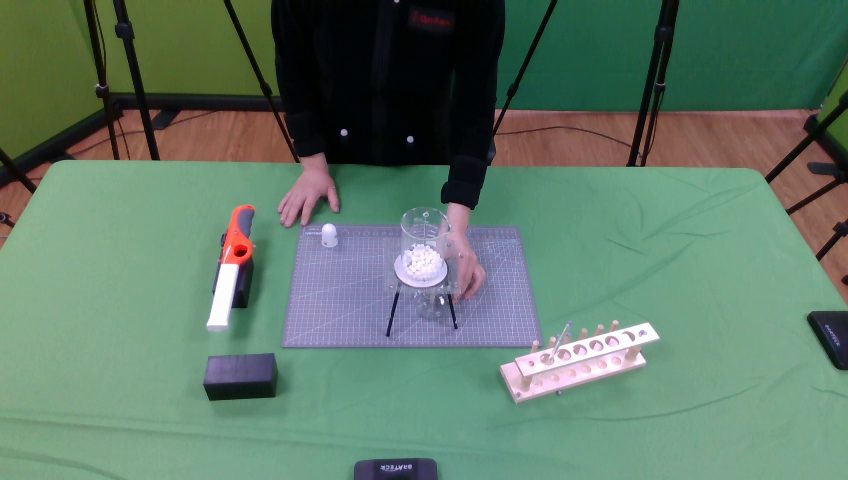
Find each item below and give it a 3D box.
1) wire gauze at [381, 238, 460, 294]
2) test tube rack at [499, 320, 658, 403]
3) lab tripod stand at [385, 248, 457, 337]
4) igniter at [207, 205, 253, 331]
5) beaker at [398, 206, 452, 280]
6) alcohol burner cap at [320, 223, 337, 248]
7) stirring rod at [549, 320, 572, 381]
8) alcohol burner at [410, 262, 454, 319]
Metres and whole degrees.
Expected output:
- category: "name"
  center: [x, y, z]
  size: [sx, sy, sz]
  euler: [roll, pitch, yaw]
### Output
- category: "wire gauze"
  center: [-0.008, 0.042, 0.985]
  size: [0.125, 0.011, 0.120]
  euler: [-1, 43, -2]
- category: "test tube rack"
  center: [0.252, 0.187, 0.994]
  size: [0.243, 0.085, 0.066]
  euler: [-12, 48, -15]
- category: "lab tripod stand"
  center: [-0.010, 0.087, 1.032]
  size: [0.148, 0.132, 0.147]
  euler: [1, 45, -1]
- category: "igniter"
  center: [-0.339, 0.038, 1.066]
  size: [0.057, 0.025, 0.274]
  euler: [2, 48, -6]
- category: "beaker"
  center: [0.000, 0.008, 0.950]
  size: [0.084, 0.101, 0.073]
  euler: [10, 45, 6]
- category: "alcohol burner cap"
  center: [-0.188, -0.011, 1.176]
  size: [0.034, 0.048, 0.033]
  euler: [2, 46, -2]
- category: "stirring rod"
  center: [0.202, 0.167, 0.901]
  size: [0.006, 0.177, 0.014]
  euler: [-17, 54, -11]
- category: "alcohol burner"
  center: [0.014, 0.082, 1.053]
  size: [0.078, 0.120, 0.077]
  euler: [1, 46, -1]
